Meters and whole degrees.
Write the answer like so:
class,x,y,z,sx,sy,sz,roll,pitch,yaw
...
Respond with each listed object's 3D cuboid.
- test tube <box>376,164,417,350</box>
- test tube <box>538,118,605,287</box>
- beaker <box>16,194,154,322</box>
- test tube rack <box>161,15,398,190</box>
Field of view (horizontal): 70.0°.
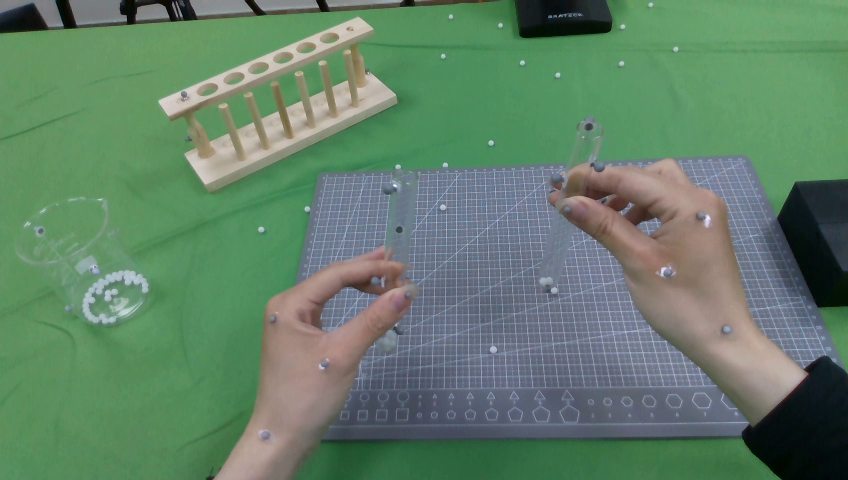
class,x,y,z,sx,sy,sz,roll,pitch,yaw
test tube,-0.020,0.018,0.394,0.017,0.151,0.017,5,38,-4
test tube,0.092,-0.016,0.391,0.017,0.151,0.017,0,51,0
beaker,-0.290,0.018,0.536,0.073,0.101,0.083,20,54,21
test tube rack,-0.152,-0.158,0.679,0.242,0.086,0.066,-30,54,-18
